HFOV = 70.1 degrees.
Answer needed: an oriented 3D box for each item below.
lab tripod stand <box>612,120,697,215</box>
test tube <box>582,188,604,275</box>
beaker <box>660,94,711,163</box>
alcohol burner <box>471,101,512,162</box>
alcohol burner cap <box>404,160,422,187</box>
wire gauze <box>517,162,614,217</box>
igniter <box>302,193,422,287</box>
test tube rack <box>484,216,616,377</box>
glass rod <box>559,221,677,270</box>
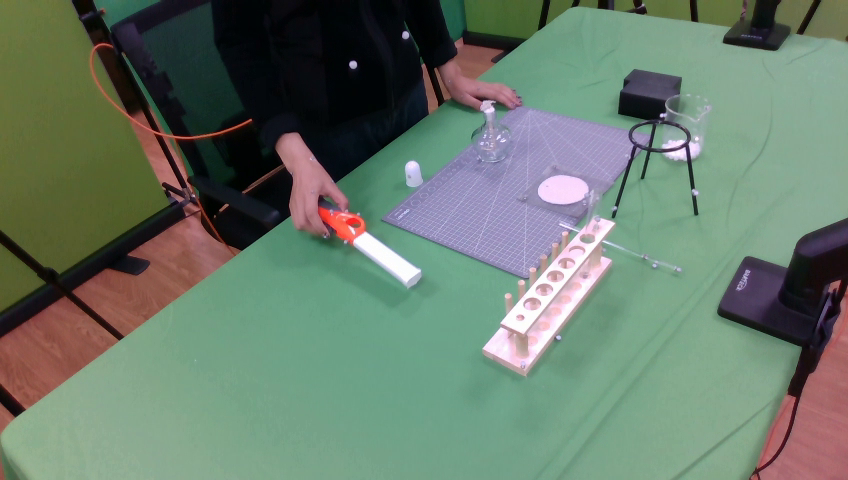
[{"bbox_3d":[0.369,-0.112,0.958,0.148,0.132,0.147,-4,40,4],"label":"lab tripod stand"},{"bbox_3d":[0.228,-0.007,0.821,0.017,0.151,0.017,-3,42,3],"label":"test tube"},{"bbox_3d":[0.457,-0.192,1.063,0.074,0.101,0.083,-7,41,4],"label":"beaker"},{"bbox_3d":[0.125,-0.207,1.126,0.078,0.119,0.077,-5,43,5],"label":"alcohol burner"},{"bbox_3d":[-0.023,-0.126,1.118,0.034,0.048,0.033,-3,41,3],"label":"alcohol burner cap"},{"bbox_3d":[0.245,-0.088,1.046,0.120,0.011,0.125,25,50,32],"label":"wire gauze"},{"bbox_3d":[-0.108,-0.007,0.959,0.057,0.025,0.274,-35,51,-29],"label":"igniter"},{"bbox_3d":[0.174,0.064,0.823,0.066,0.085,0.243,23,49,33],"label":"test tube rack"},{"bbox_3d":[0.292,0.007,0.927,0.198,0.008,0.008,26,52,36],"label":"glass rod"}]
